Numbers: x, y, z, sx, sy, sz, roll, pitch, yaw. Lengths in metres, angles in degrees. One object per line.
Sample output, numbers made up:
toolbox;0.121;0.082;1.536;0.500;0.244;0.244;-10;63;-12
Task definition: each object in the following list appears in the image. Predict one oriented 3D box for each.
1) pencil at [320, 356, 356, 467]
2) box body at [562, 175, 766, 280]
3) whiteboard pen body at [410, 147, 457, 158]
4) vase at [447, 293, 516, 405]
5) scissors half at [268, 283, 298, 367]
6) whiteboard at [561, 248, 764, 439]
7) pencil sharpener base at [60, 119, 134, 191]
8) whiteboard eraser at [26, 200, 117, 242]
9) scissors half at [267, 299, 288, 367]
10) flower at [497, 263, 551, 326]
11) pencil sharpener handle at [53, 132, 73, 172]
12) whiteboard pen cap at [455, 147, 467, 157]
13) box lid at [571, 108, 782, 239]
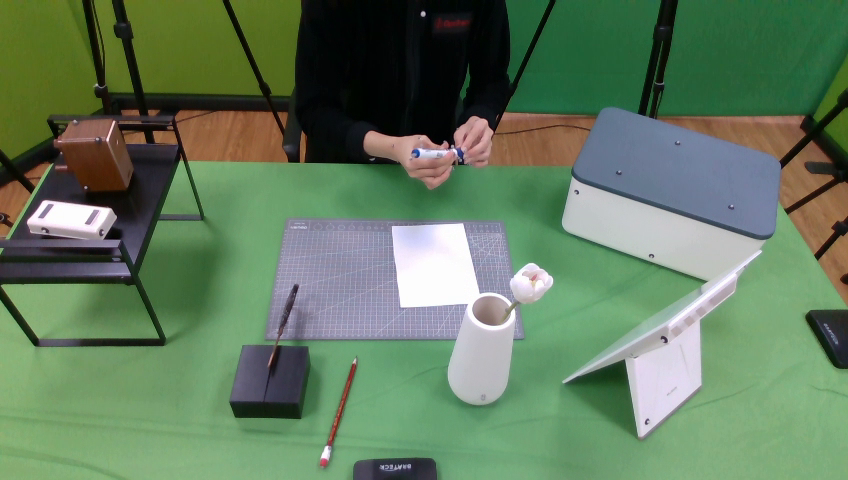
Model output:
pencil;-0.130;0.261;0.946;0.012;0.012;0.193;10;45;5
box body;0.486;-0.088;1.222;0.363;0.161;0.253;20;48;15
whiteboard pen body;0.024;-0.147;1.015;0.017;0.017;0.141;37;28;27
vase;0.091;0.169;0.921;0.098;0.201;0.097;3;47;-3
scissors half;-0.230;0.135;0.986;0.013;0.040;0.174;19;43;-11
whiteboard;0.386;0.176;0.905;0.217;0.306;0.143;-26;72;-27
pencil sharpener base;-0.528;-0.135;0.979;0.077;0.107;0.061;-4;47;-7
whiteboard eraser;-0.532;-0.026;0.919;0.113;0.042;0.055;7;45;3
scissors half;-0.239;0.150;0.997;0.013;0.040;0.174;24;24;-13
flower;0.102;0.121;0.853;0.044;0.363;0.038;-1;64;-9
pencil sharpener handle;-0.578;-0.138;0.961;0.031;0.068;0.036;-4;35;-7
whiteboard pen cap;0.059;-0.154;1.064;0.018;0.018;0.033;35;25;26
box lid;0.491;-0.139;1.168;0.370;0.015;0.262;20;49;15
